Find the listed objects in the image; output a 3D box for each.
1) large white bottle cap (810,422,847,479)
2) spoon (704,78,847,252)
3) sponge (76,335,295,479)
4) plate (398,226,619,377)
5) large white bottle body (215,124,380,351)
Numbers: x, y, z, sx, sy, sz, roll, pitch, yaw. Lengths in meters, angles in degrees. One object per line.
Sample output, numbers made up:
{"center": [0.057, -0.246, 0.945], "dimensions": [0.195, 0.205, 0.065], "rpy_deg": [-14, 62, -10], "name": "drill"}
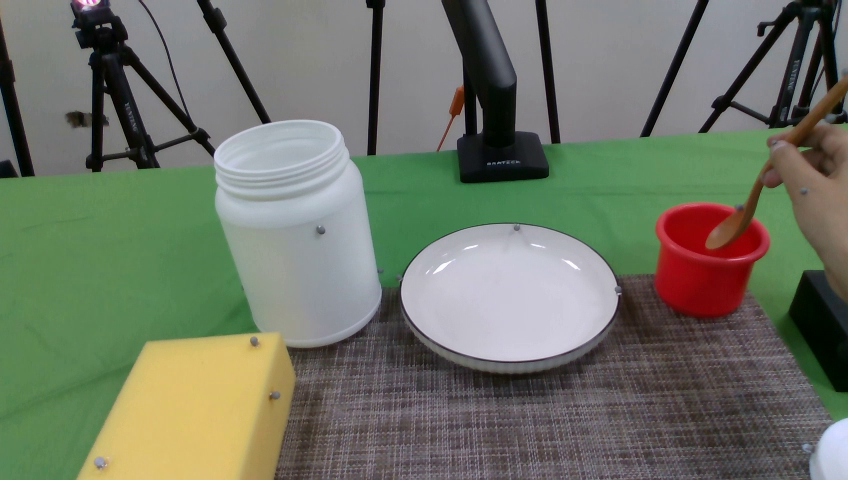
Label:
{"center": [0.331, 0.174, 0.415], "dimensions": [0.115, 0.018, 0.113], "rpy_deg": [-1, 35, 1], "name": "large white bottle cap"}
{"center": [0.276, -0.051, 0.484], "dimensions": [0.021, 0.195, 0.041], "rpy_deg": [27, 55, 15], "name": "spoon"}
{"center": [-0.175, 0.165, 0.448], "dimensions": [0.118, 0.061, 0.205], "rpy_deg": [-5, 34, 3], "name": "sponge"}
{"center": [0.080, 0.059, 0.588], "dimensions": [0.209, 0.038, 0.207], "rpy_deg": [-3, 35, 2], "name": "plate"}
{"center": [-0.117, -0.003, 0.569], "dimensions": [0.130, 0.186, 0.129], "rpy_deg": [-4, 33, 3], "name": "large white bottle body"}
